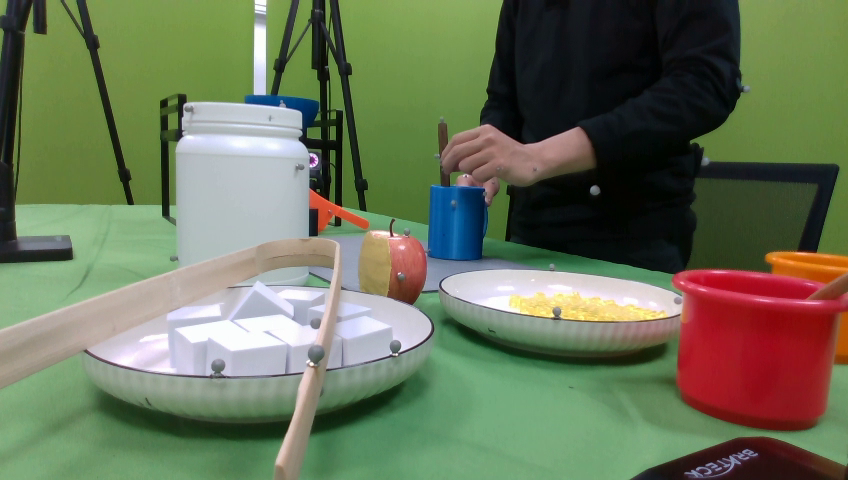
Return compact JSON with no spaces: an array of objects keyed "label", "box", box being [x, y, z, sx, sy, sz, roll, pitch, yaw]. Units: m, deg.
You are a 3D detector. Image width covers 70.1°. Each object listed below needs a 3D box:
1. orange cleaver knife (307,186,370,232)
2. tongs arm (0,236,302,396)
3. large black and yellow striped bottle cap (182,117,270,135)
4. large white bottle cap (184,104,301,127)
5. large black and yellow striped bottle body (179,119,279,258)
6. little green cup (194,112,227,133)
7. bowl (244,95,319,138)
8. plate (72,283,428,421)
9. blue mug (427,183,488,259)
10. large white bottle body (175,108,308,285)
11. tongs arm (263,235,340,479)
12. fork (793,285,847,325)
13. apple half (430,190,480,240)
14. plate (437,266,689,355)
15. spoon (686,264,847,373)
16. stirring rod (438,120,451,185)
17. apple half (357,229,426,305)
[{"label":"orange cleaver knife","box":[-0.197,-0.056,1.141,0.212,0.077,0.012,29,0,-34]},{"label":"tongs arm","box":[-0.158,0.038,0.351,0.028,0.028,0.388,-3,8,11]},{"label":"large black and yellow striped bottle cap","box":[-0.272,-0.156,0.833,0.115,0.019,0.115,1,7,0]},{"label":"large white bottle cap","box":[-0.184,-0.126,0.618,0.115,0.018,0.115,2,8,0]},{"label":"large black and yellow striped bottle body","box":[-0.271,-0.074,0.846,0.131,0.184,0.130,0,9,0]},{"label":"little green cup","box":[-0.412,-0.228,1.171,0.061,0.038,0.061,2,8,0]},{"label":"bowl","box":[-0.293,-0.251,1.249,0.151,0.077,0.151,2,7,0]},{"label":"plate","box":[-0.102,0.066,0.381,0.208,0.039,0.207,2,7,0]},{"label":"blue mug","box":[0.059,-0.031,0.906,0.082,0.106,0.117,9,10,42]},{"label":"large white bottle body","box":[-0.188,-0.042,0.630,0.131,0.184,0.130,2,8,0]},{"label":"tongs arm","box":[-0.074,0.039,0.349,0.051,0.026,0.384,-2,10,-3]},{"label":"fork","box":[0.331,0.018,0.442,0.028,0.018,0.207,-2,-36,-15]},{"label":"apple half","box":[0.046,-0.040,0.903,0.081,0.081,0.032,2,17,-4]},{"label":"plate","box":[0.114,0.057,0.517,0.209,0.038,0.209,3,7,0]},{"label":"spoon","box":[0.214,0.032,0.328,0.042,0.021,0.193,-3,-35,-26]},{"label":"stirring rod","box":[0.031,-0.081,0.861,0.014,0.176,0.006,-1,8,22]},{"label":"apple half","box":[-0.026,0.028,0.570,0.053,0.074,0.080,3,2,-28]}]
